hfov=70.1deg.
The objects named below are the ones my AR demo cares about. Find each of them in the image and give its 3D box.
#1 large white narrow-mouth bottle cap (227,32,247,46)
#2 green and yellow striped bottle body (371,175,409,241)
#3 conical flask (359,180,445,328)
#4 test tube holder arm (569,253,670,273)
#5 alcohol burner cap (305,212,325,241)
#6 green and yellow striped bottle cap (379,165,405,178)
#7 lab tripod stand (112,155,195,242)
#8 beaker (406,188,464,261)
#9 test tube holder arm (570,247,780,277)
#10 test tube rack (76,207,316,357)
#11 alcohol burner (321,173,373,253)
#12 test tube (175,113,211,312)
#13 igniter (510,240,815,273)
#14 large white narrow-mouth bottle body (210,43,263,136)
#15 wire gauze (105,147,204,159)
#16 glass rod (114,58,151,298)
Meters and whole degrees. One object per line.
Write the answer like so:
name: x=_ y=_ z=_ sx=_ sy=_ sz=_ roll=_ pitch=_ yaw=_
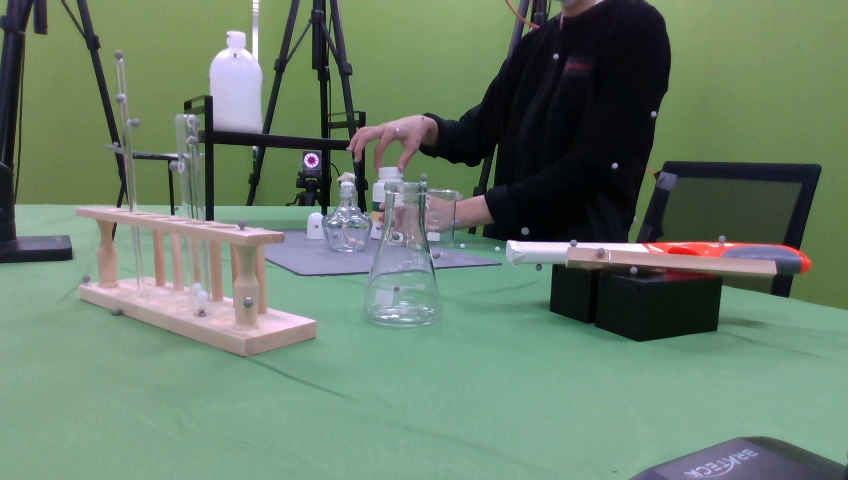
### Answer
large white narrow-mouth bottle cap: x=-0.364 y=-0.391 z=1.180 sx=0.038 sy=0.024 sz=0.037 roll=3 pitch=8 yaw=0
green and yellow striped bottle body: x=-0.059 y=-0.061 z=1.059 sx=0.063 sy=0.119 sz=0.063 roll=3 pitch=7 yaw=0
conical flask: x=-0.017 y=0.010 z=0.522 sx=0.075 sy=0.122 sz=0.075 roll=2 pitch=7 yaw=0
test tube holder arm: x=0.172 y=0.019 z=0.532 sx=0.088 sy=0.015 sz=0.010 roll=3 pitch=-23 yaw=3
alcohol burner cap: x=-0.185 y=-0.023 z=1.027 sx=0.034 sy=0.048 sz=0.034 roll=2 pitch=7 yaw=0
green and yellow striped bottle cap: x=-0.055 y=-0.118 z=1.052 sx=0.045 sy=0.020 sz=0.045 roll=-7 pitch=4 yaw=1
lab tripod stand: x=-0.405 y=-0.064 z=0.931 sx=0.148 sy=0.131 sz=0.148 roll=1 pitch=6 yaw=0
beaker: x=0.014 y=-0.023 z=0.870 sx=0.084 sy=0.100 sz=0.074 roll=3 pitch=8 yaw=-4
test tube holder arm: x=0.217 y=0.019 z=0.525 sx=0.178 sy=0.015 sz=0.013 roll=3 pitch=-23 yaw=3
test tube rack: x=-0.196 y=0.023 z=0.499 sx=0.241 sy=0.085 sz=0.067 roll=8 pitch=9 yaw=36
alcohol burner: x=-0.115 y=-0.041 z=0.905 sx=0.078 sy=0.119 sz=0.078 roll=1 pitch=6 yaw=0
test tube: x=-0.174 y=-0.020 z=0.458 sx=0.017 sy=0.150 sz=0.017 roll=-3 pitch=5 yaw=1
igniter: x=0.220 y=0.015 z=0.565 sx=0.277 sy=0.025 sz=0.057 roll=2 pitch=16 yaw=-1
large white narrow-mouth bottle body: x=-0.369 y=-0.305 z=1.194 sx=0.102 sy=0.194 sz=0.102 roll=3 pitch=8 yaw=0
wire gauze: x=-0.407 y=-0.131 z=0.928 sx=0.125 sy=0.011 sz=0.121 roll=2 pitch=6 yaw=-11
glass rod: x=-0.236 y=-0.044 z=0.492 sx=0.008 sy=0.199 sz=0.008 roll=0 pitch=15 yaw=0
